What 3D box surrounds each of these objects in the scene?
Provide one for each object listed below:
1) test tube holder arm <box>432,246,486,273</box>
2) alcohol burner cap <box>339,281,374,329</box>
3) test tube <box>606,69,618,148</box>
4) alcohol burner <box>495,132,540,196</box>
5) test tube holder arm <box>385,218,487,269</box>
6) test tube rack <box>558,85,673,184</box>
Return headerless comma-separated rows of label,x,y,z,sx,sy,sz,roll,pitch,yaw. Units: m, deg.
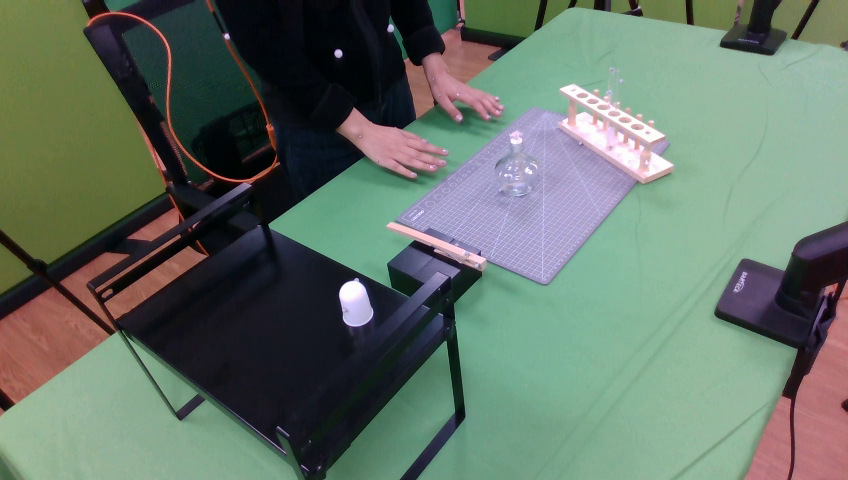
test tube holder arm,0.050,0.024,0.870,0.087,0.010,0.015,26,40,29
alcohol burner cap,-0.071,0.063,0.617,0.034,0.048,0.033,-5,39,4
test tube,0.330,-0.228,1.064,0.017,0.151,0.017,-7,39,6
alcohol burner,0.159,-0.135,1.035,0.078,0.119,0.077,-5,42,5
test tube holder arm,0.014,0.003,0.888,0.177,0.013,0.015,26,40,29
test tube rack,0.347,-0.203,1.109,0.067,0.085,0.240,-22,42,-17
